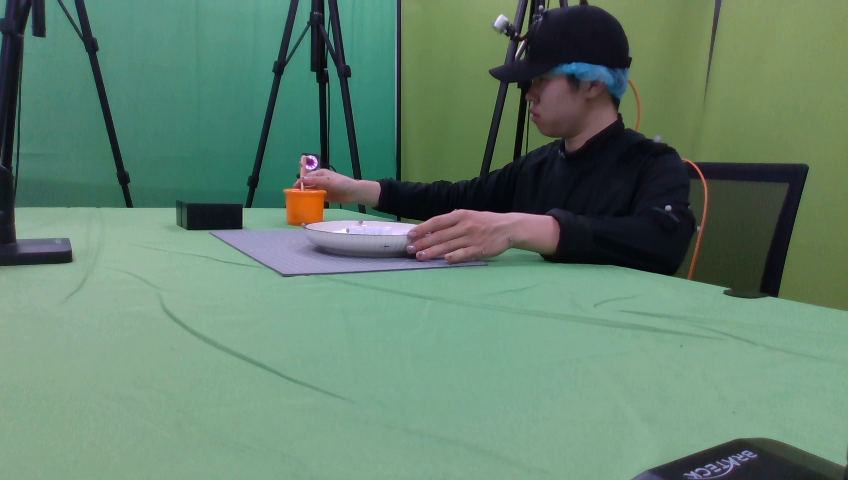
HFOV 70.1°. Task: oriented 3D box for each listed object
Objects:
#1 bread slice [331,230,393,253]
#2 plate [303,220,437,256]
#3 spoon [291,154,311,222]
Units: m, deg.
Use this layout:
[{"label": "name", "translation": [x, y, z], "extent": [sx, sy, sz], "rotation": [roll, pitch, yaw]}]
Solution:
[{"label": "bread slice", "translation": [-0.088, 0.000, 0.947], "extent": [0.105, 0.019, 0.131], "rotation": [-4, 11, -44]}, {"label": "plate", "translation": [-0.084, -0.003, 0.951], "extent": [0.209, 0.038, 0.209], "rotation": [3, 7, 0]}, {"label": "spoon", "translation": [-0.268, -0.118, 1.329], "extent": [0.042, 0.021, 0.193], "rotation": [1, 49, -11]}]
